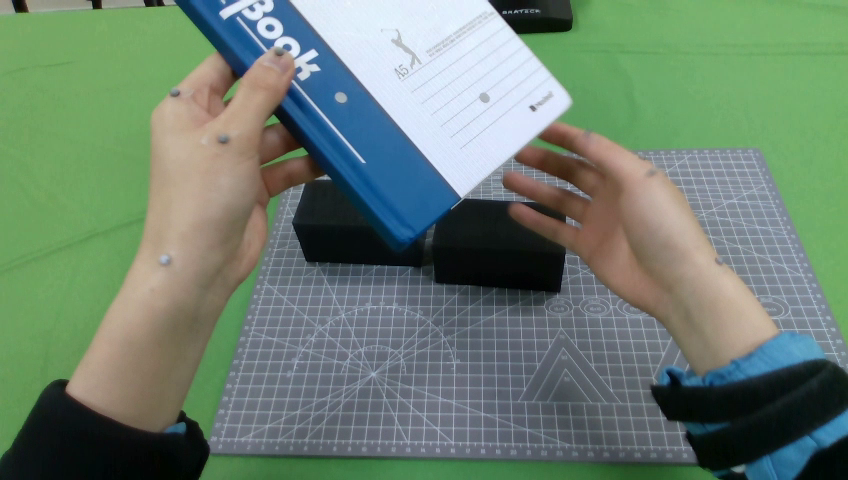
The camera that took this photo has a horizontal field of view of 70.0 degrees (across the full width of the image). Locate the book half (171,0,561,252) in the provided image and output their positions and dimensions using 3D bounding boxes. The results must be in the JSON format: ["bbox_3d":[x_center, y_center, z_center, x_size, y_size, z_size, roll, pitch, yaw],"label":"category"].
[{"bbox_3d":[-0.032,-0.114,0.333,0.148,0.016,0.210,-40,89,-28],"label":"book half"}]

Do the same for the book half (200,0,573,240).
[{"bbox_3d":[-0.027,-0.118,0.329,0.143,0.007,0.210,-40,88,-27],"label":"book half"}]
